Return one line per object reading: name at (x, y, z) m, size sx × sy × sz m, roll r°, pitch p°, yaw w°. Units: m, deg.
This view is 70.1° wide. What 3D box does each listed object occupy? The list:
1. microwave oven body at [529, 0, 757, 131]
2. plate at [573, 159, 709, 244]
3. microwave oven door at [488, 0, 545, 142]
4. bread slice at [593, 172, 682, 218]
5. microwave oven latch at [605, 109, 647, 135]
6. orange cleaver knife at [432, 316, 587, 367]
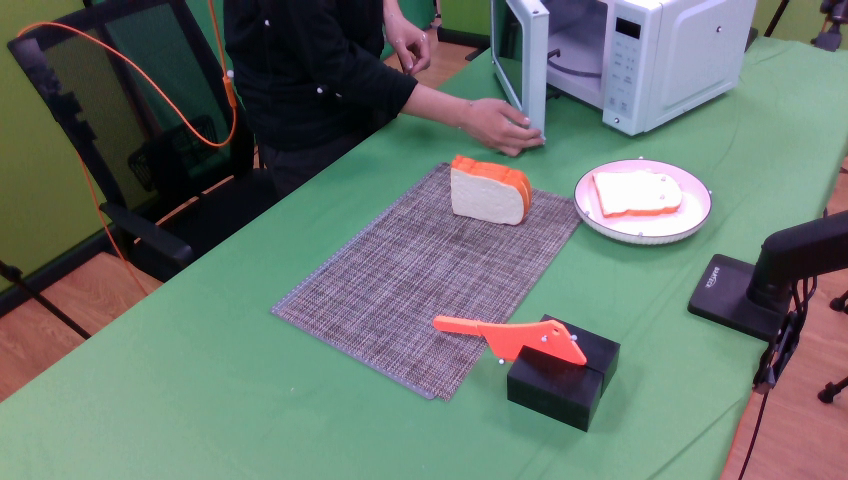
microwave oven body at (0.396, -0.448, 1.248) m, size 0.327 × 0.261 × 0.437 m, roll -27°, pitch 44°, yaw -21°
plate at (0.347, -0.059, 0.979) m, size 0.207 × 0.039 × 0.206 m, roll -4°, pitch 41°, yaw 4°
microwave oven door at (0.180, -0.390, 1.204) m, size 0.039 × 0.245 × 0.353 m, roll -9°, pitch 40°, yaw -2°
bread slice at (0.351, -0.076, 0.995) m, size 0.134 × 0.018 × 0.106 m, roll -4°, pitch 44°, yaw 1°
microwave oven latch at (0.378, -0.225, 1.139) m, size 0.030 × 0.029 × 0.078 m, roll -26°, pitch 43°, yaw -20°
orange cleaver knife at (0.101, 0.127, 0.761) m, size 0.210 × 0.077 × 0.012 m, roll -1°, pitch 34°, yaw 40°
